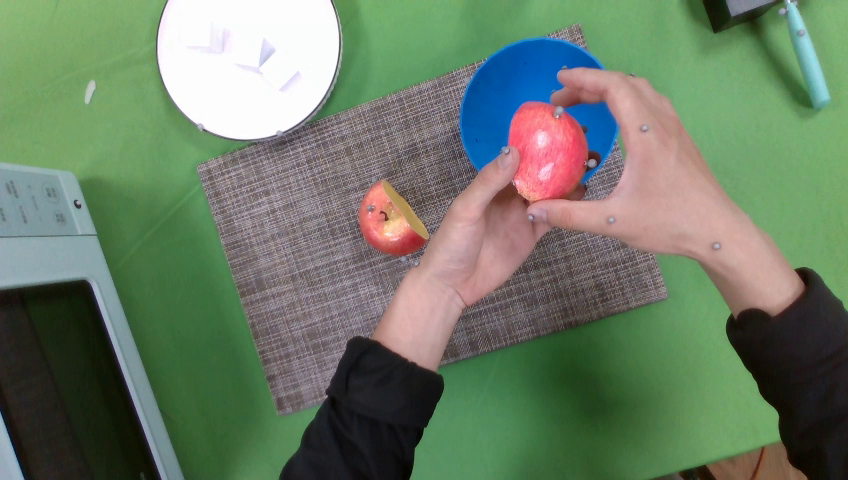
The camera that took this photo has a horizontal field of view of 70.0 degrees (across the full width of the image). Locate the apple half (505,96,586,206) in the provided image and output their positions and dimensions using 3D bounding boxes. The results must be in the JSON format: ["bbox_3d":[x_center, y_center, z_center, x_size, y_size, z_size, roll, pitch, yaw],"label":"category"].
[{"bbox_3d":[0.093,-0.064,0.429,0.032,0.081,0.081,-10,92,48],"label":"apple half"}]

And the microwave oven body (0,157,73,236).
[{"bbox_3d":[-0.496,0.174,0.603,0.326,0.260,0.441,-20,91,7],"label":"microwave oven body"}]

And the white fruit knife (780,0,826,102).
[{"bbox_3d":[0.341,-0.222,0.572,0.016,0.027,0.208,-23,107,25],"label":"white fruit knife"}]

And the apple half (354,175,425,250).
[{"bbox_3d":[-0.042,-0.022,0.632,0.053,0.074,0.081,-38,91,11],"label":"apple half"}]

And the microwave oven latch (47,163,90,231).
[{"bbox_3d":[-0.406,-0.046,0.678,0.030,0.029,0.079,-20,91,7],"label":"microwave oven latch"}]

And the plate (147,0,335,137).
[{"bbox_3d":[-0.196,-0.214,0.663,0.207,0.039,0.207,0,93,7],"label":"plate"}]

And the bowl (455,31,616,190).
[{"bbox_3d":[0.108,-0.121,0.606,0.151,0.077,0.151,0,93,7],"label":"bowl"}]

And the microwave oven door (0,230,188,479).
[{"bbox_3d":[-0.346,0.164,0.579,0.039,0.244,0.355,-20,90,8],"label":"microwave oven door"}]
